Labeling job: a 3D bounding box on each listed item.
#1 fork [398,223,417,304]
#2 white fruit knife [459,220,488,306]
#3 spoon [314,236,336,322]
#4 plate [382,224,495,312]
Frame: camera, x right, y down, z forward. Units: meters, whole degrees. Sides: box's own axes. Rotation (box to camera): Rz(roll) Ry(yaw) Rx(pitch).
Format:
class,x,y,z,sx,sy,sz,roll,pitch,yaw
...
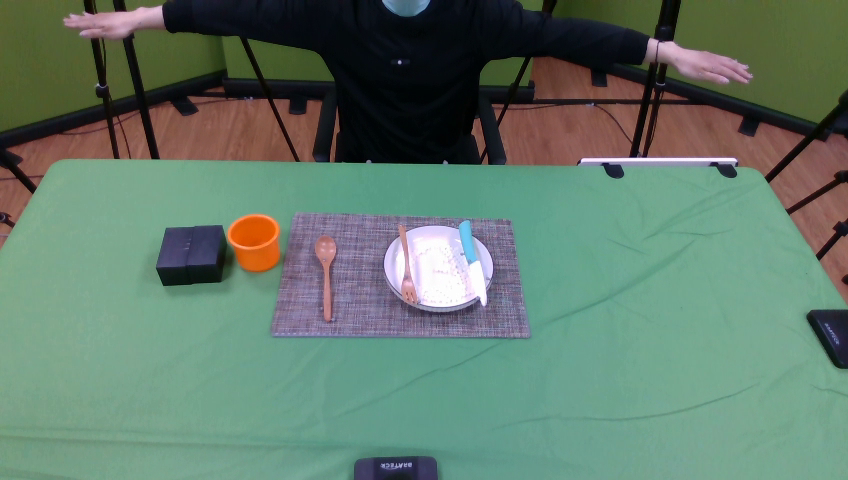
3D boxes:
class,x,y,z,sx,sy,sz,roll,pitch,yaw
fork,-0.033,0.039,1.110,0.028,0.019,0.206,4,46,-13
white fruit knife,0.091,0.039,1.118,0.027,0.016,0.206,-2,47,-10
spoon,-0.180,0.068,1.111,0.042,0.022,0.192,9,43,-20
plate,0.026,0.055,1.128,0.209,0.038,0.208,2,46,-2
